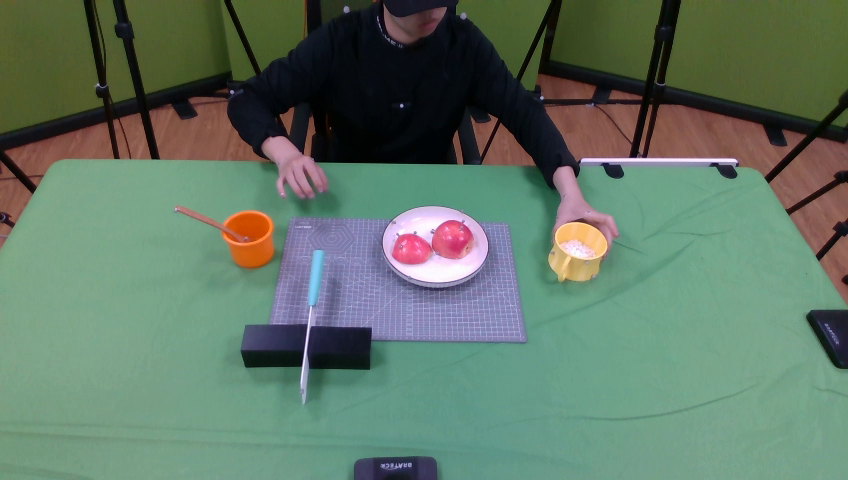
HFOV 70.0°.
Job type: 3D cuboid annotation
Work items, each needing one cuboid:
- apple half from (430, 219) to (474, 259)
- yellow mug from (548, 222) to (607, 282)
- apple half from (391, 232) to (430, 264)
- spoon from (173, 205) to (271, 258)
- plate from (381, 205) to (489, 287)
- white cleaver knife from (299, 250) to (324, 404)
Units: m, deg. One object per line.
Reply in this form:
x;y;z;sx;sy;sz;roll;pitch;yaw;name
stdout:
0.056;-0.008;1.172;0.081;0.053;0.074;-34;59;-31;apple half
0.287;0.030;1.160;0.099;0.064;0.130;27;51;21;yellow mug
-0.024;0.009;1.163;0.081;0.033;0.081;2;43;-2;apple half
-0.362;-0.017;1.098;0.021;0.195;0.041;-32;42;27;spoon
0.021;0.015;1.170;0.209;0.038;0.208;2;46;-2;plate
-0.194;0.134;1.019;0.021;0.066;0.284;5;50;-5;white cleaver knife
